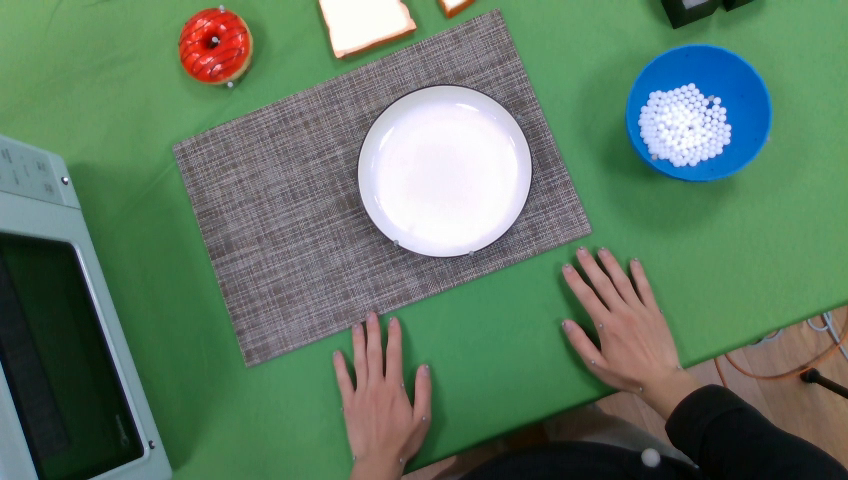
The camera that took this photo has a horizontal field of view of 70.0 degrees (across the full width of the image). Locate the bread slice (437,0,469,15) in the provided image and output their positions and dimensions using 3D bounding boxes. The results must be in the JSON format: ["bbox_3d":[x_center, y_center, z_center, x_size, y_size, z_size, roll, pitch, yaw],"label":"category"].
[{"bbox_3d":[0.033,-0.362,0.757,0.105,0.019,0.131,-36,83,1],"label":"bread slice"}]

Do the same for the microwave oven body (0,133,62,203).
[{"bbox_3d":[-0.543,0.136,0.652,0.326,0.261,0.440,-24,84,3],"label":"microwave oven body"}]

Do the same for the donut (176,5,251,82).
[{"bbox_3d":[-0.267,-0.249,0.767,0.099,0.048,0.099,-1,86,9],"label":"donut"}]

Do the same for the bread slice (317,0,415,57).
[{"bbox_3d":[-0.085,-0.306,0.765,0.107,0.018,0.134,-23,84,3],"label":"bread slice"}]

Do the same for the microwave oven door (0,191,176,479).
[{"bbox_3d":[-0.393,0.115,0.632,0.039,0.244,0.354,-24,83,4],"label":"microwave oven door"}]

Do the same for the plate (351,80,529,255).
[{"bbox_3d":[0.019,-0.084,0.721,0.207,0.039,0.207,-1,85,6],"label":"plate"}]

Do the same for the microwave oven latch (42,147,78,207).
[{"bbox_3d":[-0.465,-0.075,0.758,0.030,0.029,0.079,-24,84,3],"label":"microwave oven latch"}]

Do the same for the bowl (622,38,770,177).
[{"bbox_3d":[0.293,-0.138,0.679,0.151,0.077,0.151,-1,85,6],"label":"bowl"}]
